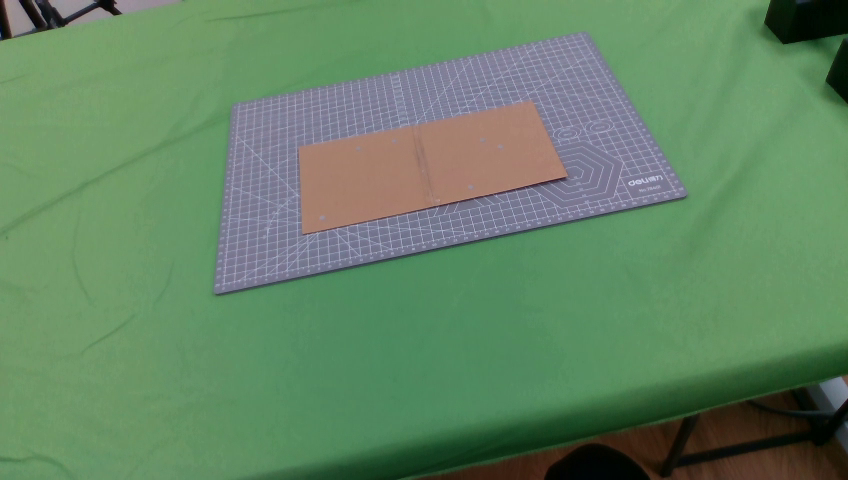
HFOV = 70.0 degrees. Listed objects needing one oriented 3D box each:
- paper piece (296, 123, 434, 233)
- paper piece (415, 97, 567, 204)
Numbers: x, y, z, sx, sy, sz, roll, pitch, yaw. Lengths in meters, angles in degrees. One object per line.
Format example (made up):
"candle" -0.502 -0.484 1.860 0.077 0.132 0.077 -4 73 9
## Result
"paper piece" -0.066 -0.070 0.636 0.138 0.009 0.134 -12 46 1
"paper piece" 0.065 -0.099 0.636 0.135 0.004 0.134 -13 48 1
